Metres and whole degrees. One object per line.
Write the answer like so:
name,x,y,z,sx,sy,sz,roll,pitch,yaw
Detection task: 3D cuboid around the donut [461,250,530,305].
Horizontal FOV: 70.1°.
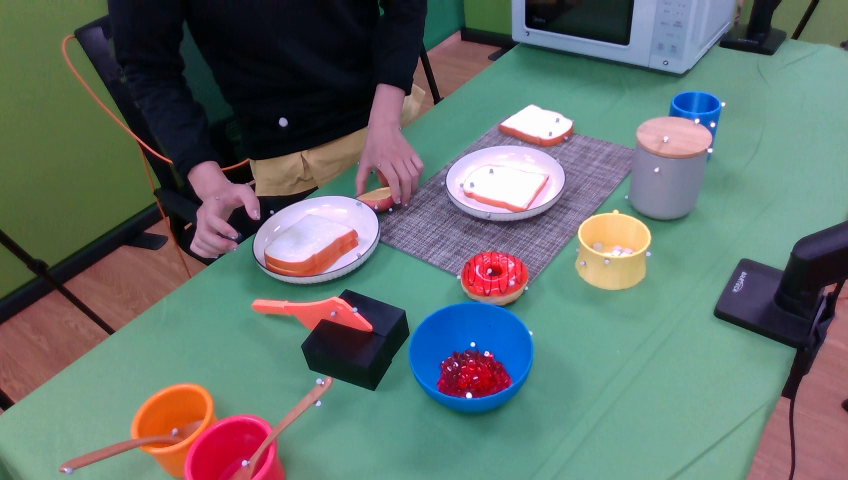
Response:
donut,0.103,0.053,0.872,0.099,0.048,0.098,-4,40,4

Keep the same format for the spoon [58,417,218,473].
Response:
spoon,-0.304,0.221,0.661,0.041,0.195,0.021,19,92,27

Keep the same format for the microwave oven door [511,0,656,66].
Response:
microwave oven door,0.350,-0.539,1.348,0.353,0.245,0.039,24,50,31

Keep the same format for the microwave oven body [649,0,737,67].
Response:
microwave oven body,0.475,-0.602,1.411,0.438,0.261,0.327,23,50,32

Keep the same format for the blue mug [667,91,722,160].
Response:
blue mug,0.474,-0.207,1.079,0.082,0.106,0.116,4,42,13

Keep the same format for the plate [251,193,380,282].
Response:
plate,-0.173,-0.001,0.984,0.209,0.038,0.208,-3,40,3

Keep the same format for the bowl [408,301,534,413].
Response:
bowl,0.059,0.156,0.739,0.151,0.077,0.150,-4,40,4

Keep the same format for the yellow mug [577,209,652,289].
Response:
yellow mug,0.279,0.004,0.893,0.099,0.064,0.130,5,41,15

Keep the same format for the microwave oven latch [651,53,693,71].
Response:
microwave oven latch,0.532,-0.386,1.301,0.078,0.029,0.030,27,52,34

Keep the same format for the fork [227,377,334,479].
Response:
fork,-0.163,0.216,0.647,0.207,0.019,0.028,-49,41,16

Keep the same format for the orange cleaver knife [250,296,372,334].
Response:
orange cleaver knife,-0.158,0.103,0.828,0.210,0.078,0.012,-4,43,39

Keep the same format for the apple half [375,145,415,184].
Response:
apple half,-0.055,-0.149,1.129,0.074,0.053,0.080,-1,40,4

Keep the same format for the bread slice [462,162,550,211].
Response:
bread slice,0.135,-0.094,1.045,0.133,0.018,0.107,15,45,23

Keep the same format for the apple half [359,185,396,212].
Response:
apple half,-0.079,-0.068,1.057,0.081,0.033,0.081,-19,13,5

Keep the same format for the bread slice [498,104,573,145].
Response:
bread slice,0.231,-0.231,1.205,0.105,0.019,0.130,-36,47,-29

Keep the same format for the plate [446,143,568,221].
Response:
plate,0.142,-0.096,1.045,0.207,0.039,0.206,-4,40,4

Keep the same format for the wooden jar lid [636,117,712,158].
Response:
wooden jar lid,0.377,-0.151,0.917,0.108,0.021,0.108,-2,41,3

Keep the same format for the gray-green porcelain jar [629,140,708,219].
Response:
gray-green porcelain jar,0.383,-0.105,0.958,0.106,0.127,0.105,-4,41,4
